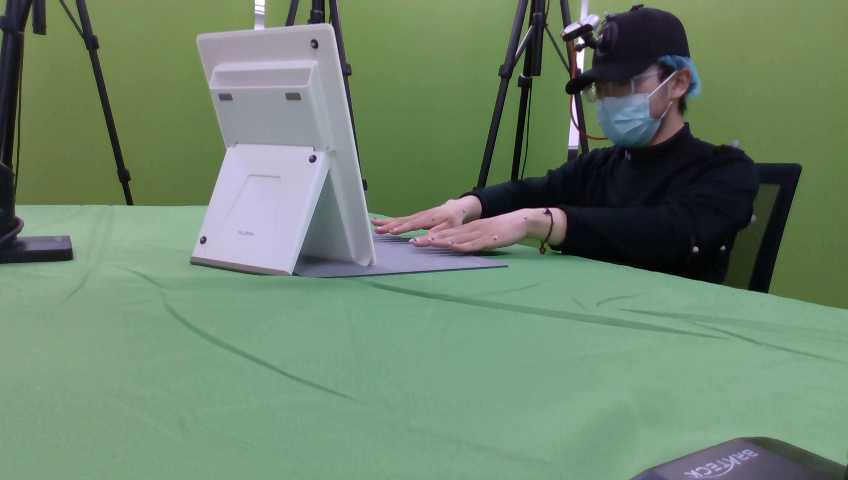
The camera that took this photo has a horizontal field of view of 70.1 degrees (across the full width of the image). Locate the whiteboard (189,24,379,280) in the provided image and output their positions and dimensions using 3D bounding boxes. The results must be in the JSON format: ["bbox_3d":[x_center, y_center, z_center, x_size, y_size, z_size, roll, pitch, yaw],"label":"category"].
[{"bbox_3d":[-0.207,-0.085,0.729,0.216,0.305,0.144,7,30,30],"label":"whiteboard"}]

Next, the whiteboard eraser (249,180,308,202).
[{"bbox_3d":[-0.303,-0.103,1.263,0.113,0.042,0.055,-8,18,-37],"label":"whiteboard eraser"}]
